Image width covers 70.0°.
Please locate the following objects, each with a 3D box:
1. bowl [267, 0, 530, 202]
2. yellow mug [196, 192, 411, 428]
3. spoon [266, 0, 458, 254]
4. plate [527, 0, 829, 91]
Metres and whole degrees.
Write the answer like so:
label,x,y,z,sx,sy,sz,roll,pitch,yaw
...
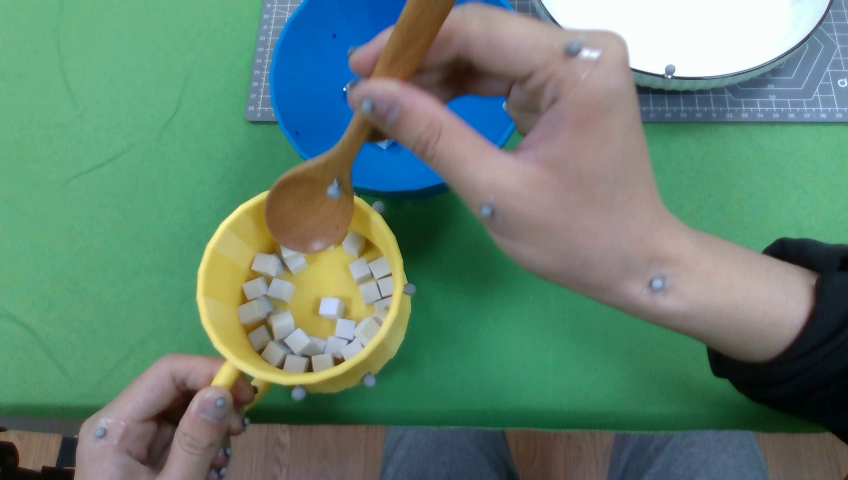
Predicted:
label,x,y,z,sx,sy,sz,roll,pitch,yaw
bowl,-0.012,-0.085,0.379,0.151,0.077,0.150,-1,74,4
yellow mug,-0.067,0.042,0.316,0.099,0.064,0.130,33,77,10
spoon,-0.024,-0.043,0.233,0.042,0.194,0.021,23,57,-16
plate,0.169,-0.189,0.425,0.209,0.038,0.207,-1,70,3
